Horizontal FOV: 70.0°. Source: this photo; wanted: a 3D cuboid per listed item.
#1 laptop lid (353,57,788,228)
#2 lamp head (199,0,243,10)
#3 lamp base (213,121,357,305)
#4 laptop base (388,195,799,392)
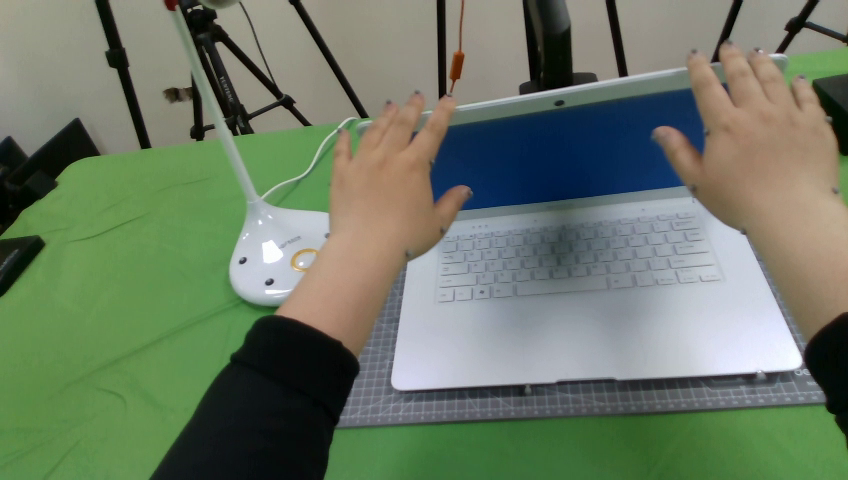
[{"bbox_3d":[0.131,-0.078,0.593,0.356,0.244,0.013,-7,67,11],"label":"laptop lid"},{"bbox_3d":[-0.190,-0.268,0.496,0.123,0.113,0.112,35,52,3],"label":"lamp head"},{"bbox_3d":[-0.184,-0.042,0.695,0.177,0.182,0.160,23,51,40],"label":"lamp base"},{"bbox_3d":[0.148,0.050,0.614,0.354,0.023,0.233,-6,43,10],"label":"laptop base"}]
